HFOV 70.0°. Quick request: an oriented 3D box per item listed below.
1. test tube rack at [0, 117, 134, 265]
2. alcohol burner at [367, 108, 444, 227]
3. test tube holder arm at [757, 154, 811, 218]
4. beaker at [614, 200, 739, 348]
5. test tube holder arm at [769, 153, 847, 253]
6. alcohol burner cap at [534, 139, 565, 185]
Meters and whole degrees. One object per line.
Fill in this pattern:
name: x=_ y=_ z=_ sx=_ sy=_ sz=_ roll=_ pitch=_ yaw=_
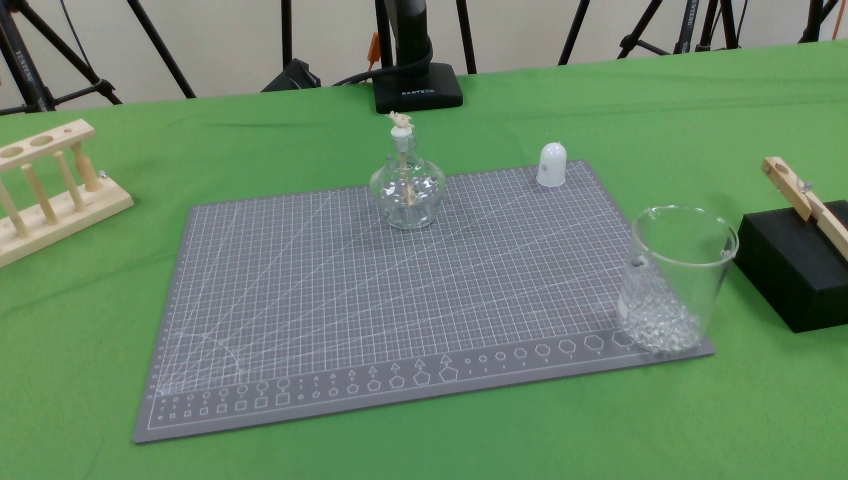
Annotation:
test tube rack: x=-0.430 y=-0.030 z=0.598 sx=0.066 sy=0.086 sz=0.242 roll=31 pitch=50 yaw=34
alcohol burner: x=-0.020 y=-0.073 z=0.600 sx=0.078 sy=0.120 sz=0.077 roll=-3 pitch=39 yaw=3
test tube holder arm: x=0.334 y=-0.051 z=0.559 sx=0.010 sy=0.015 sz=0.087 roll=-11 pitch=40 yaw=3
beaker: x=0.190 y=0.028 z=0.477 sx=0.074 sy=0.101 sz=0.083 roll=-13 pitch=40 yaw=-12
test tube holder arm: x=0.343 y=-0.024 z=0.524 sx=0.013 sy=0.015 sz=0.176 roll=-11 pitch=40 yaw=3
alcohol burner cap: x=0.138 y=-0.088 z=0.665 sx=0.034 sy=0.048 sz=0.033 roll=-1 pitch=40 yaw=2
